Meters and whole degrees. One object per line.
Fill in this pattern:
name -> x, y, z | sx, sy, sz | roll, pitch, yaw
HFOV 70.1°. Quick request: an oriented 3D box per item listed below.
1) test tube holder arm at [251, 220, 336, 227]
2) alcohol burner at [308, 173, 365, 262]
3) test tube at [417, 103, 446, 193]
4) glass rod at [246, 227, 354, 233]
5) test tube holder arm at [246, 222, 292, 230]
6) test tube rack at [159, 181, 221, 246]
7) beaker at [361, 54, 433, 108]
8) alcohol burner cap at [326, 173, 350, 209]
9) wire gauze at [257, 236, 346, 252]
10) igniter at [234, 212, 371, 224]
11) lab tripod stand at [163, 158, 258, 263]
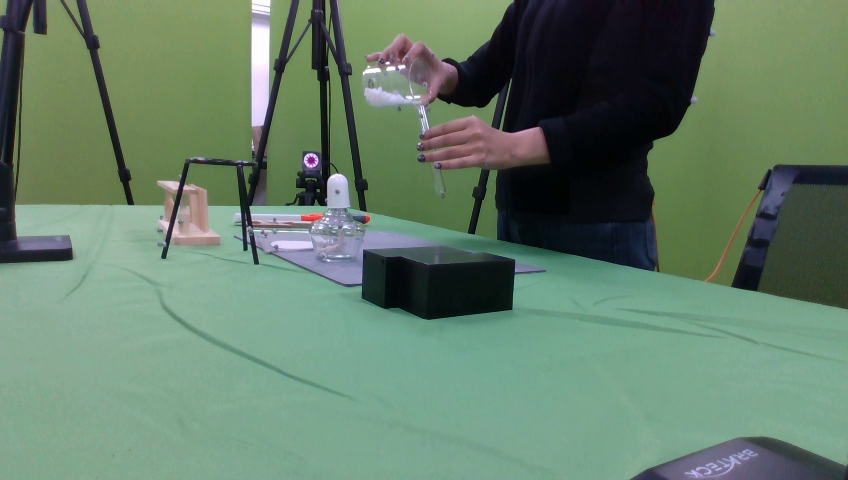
test tube holder arm -> -0.254, -0.031, 1.157 | 0.179, 0.015, 0.013 | -2, 45, -31
alcohol burner -> -0.117, -0.030, 0.813 | 0.078, 0.119, 0.078 | 4, 9, 0
test tube -> 0.011, -0.145, 0.948 | 0.017, 0.150, 0.017 | -13, -12, -3
glass rod -> -0.224, -0.017, 1.109 | 0.201, 0.008, 0.008 | 1, 7, -27
test tube holder arm -> -0.291, -0.026, 1.130 | 0.088, 0.015, 0.010 | -1, 44, -30
test tube rack -> -0.395, -0.050, 1.010 | 0.067, 0.085, 0.241 | -2, 8, -28
beaker -> -0.047, -0.255, 0.991 | 0.100, 0.084, 0.074 | 2, -1, 31
alcohol burner cap -> -0.116, -0.065, 0.808 | 0.034, 0.048, 0.034 | -3, 10, 1
wire gauze -> -0.189, 0.005, 0.931 | 0.122, 0.011, 0.124 | 1, 7, -21
igniter -> -0.245, -0.045, 1.248 | 0.278, 0.025, 0.057 | -1, -2, -25
lab tripod stand -> -0.265, -0.041, 0.802 | 0.148, 0.131, 0.148 | 4, 7, 0
